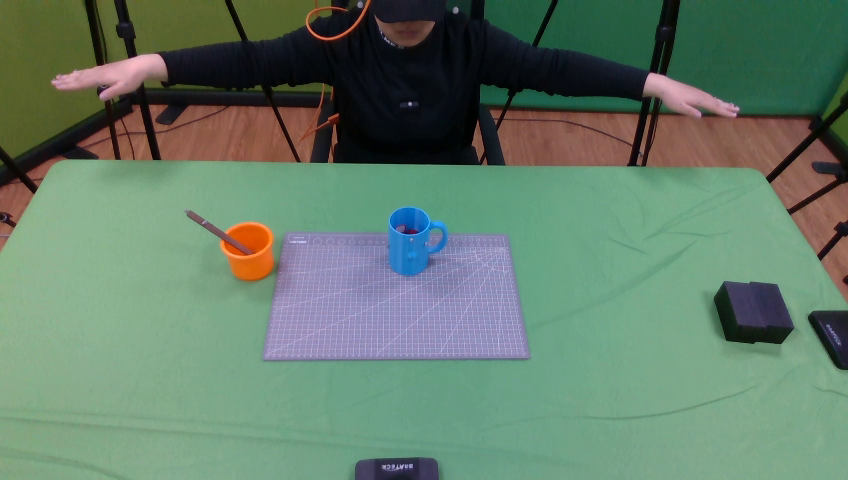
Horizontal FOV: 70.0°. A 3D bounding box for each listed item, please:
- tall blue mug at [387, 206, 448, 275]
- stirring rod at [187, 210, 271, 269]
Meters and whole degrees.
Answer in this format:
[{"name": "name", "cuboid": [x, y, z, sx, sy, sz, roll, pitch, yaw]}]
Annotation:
[{"name": "tall blue mug", "cuboid": [-0.018, -0.004, 1.138, 0.107, 0.108, 0.077, -30, 54, -29]}, {"name": "stirring rod", "cuboid": [-0.349, 0.001, 1.092, 0.177, 0.006, 0.014, 39, 34, -27]}]
